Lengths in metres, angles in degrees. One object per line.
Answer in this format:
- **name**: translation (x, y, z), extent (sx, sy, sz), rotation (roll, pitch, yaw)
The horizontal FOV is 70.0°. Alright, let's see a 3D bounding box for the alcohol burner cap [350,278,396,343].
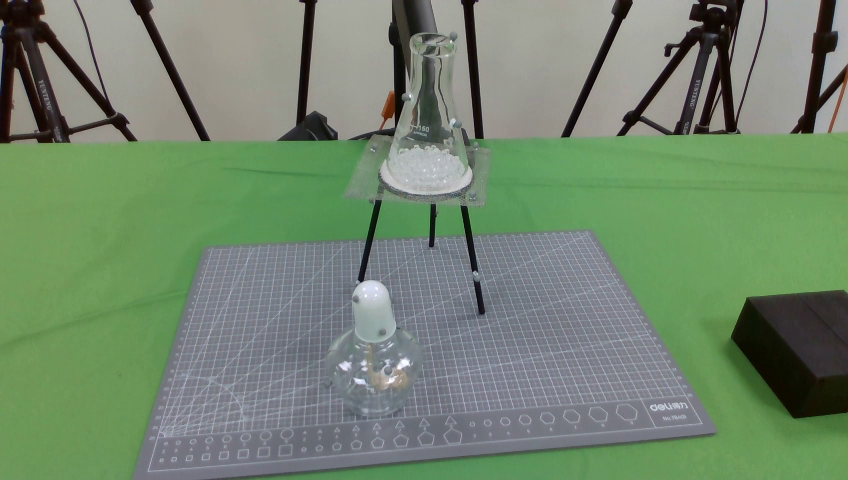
- **alcohol burner cap**: translation (-0.040, 0.051, 0.456), extent (0.034, 0.048, 0.033), rotation (-3, 38, 3)

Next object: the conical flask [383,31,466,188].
- **conical flask**: translation (0.003, -0.112, 0.518), extent (0.075, 0.123, 0.074), rotation (2, 35, -1)

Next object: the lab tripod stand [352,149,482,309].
- **lab tripod stand**: translation (0.001, -0.011, 0.593), extent (0.148, 0.132, 0.147), rotation (3, 34, -2)

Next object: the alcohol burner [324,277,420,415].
- **alcohol burner**: translation (-0.041, 0.080, 0.477), extent (0.078, 0.120, 0.077), rotation (1, 33, 0)

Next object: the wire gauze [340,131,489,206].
- **wire gauze**: translation (-0.003, -0.065, 0.555), extent (0.121, 0.011, 0.124), rotation (6, 37, 5)
